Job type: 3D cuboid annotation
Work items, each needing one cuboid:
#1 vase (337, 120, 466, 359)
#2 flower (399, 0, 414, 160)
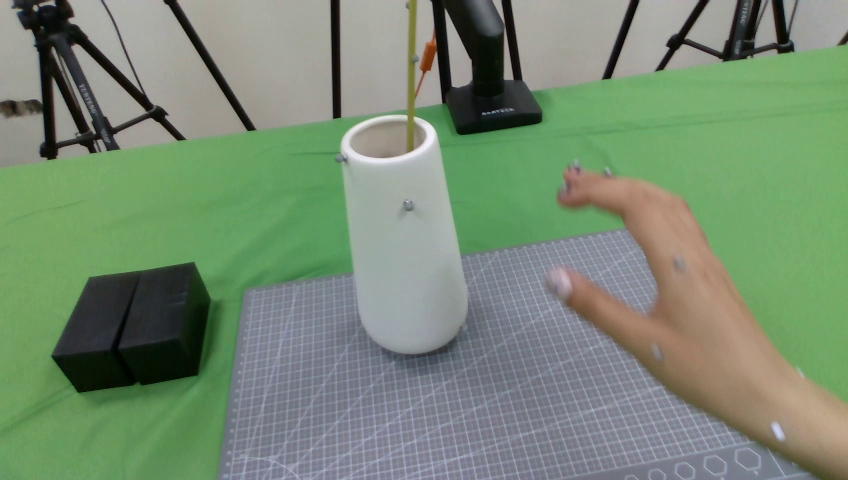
[{"bbox_3d":[-0.019,0.006,0.496,0.098,0.202,0.097,-5,39,4],"label":"vase"},{"bbox_3d":[-0.014,-0.066,0.451,0.044,0.364,0.038,13,26,18],"label":"flower"}]
